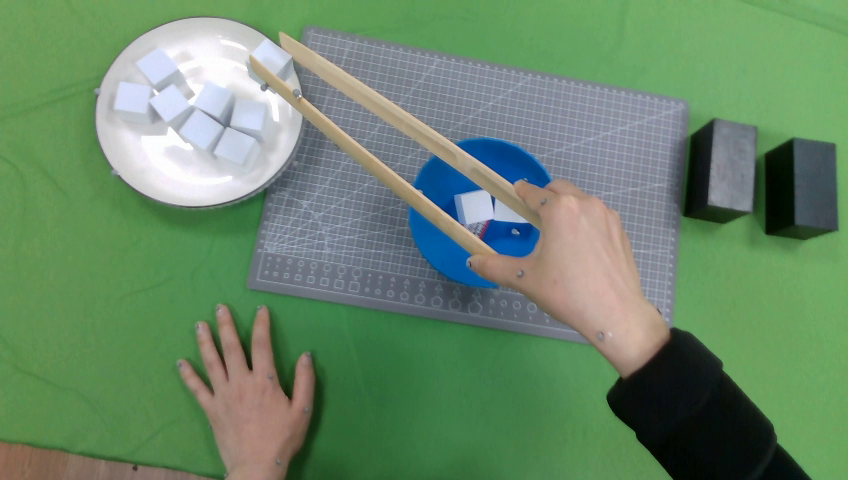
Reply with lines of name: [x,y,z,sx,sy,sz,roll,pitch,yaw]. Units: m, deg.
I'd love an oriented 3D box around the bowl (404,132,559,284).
bowl: [0.052,-0.025,0.615,0.151,0.077,0.150,1,79,-6]

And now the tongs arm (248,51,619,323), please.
tongs arm: [-0.011,-0.059,0.497,0.051,0.027,0.382,-37,66,-25]

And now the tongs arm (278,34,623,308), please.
tongs arm: [0.005,-0.073,0.508,0.385,0.028,0.028,38,58,20]

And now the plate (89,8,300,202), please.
plate: [-0.231,-0.137,0.628,0.208,0.039,0.206,1,79,-5]
